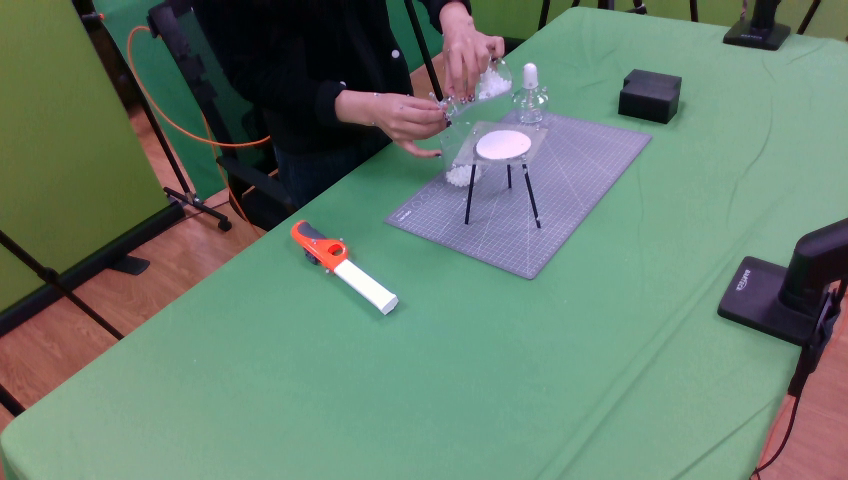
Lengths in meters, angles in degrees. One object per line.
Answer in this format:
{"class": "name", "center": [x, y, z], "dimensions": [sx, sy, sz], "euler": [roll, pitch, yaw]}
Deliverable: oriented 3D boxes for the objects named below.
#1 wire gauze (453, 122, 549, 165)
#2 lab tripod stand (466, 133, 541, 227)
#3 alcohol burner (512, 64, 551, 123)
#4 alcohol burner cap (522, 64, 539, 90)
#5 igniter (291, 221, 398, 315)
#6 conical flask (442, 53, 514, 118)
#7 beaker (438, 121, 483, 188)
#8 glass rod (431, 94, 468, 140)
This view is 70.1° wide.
{"class": "wire gauze", "center": [0.121, -0.150, 0.942], "dimensions": [0.121, 0.011, 0.125], "euler": [8, 42, 21]}
{"class": "lab tripod stand", "center": [0.129, -0.099, 0.985], "dimensions": [0.148, 0.132, 0.147], "euler": [-6, 38, 6]}
{"class": "alcohol burner", "center": [0.215, -0.298, 1.220], "dimensions": [0.078, 0.120, 0.077], "euler": [-7, 40, 7]}
{"class": "alcohol burner cap", "center": [0.210, -0.325, 1.195], "dimensions": [0.034, 0.048, 0.033], "euler": [-6, 45, 7]}
{"class": "igniter", "center": [-0.136, 0.037, 0.962], "dimensions": [0.057, 0.025, 0.274], "euler": [-41, 48, -18]}
{"class": "conical flask", "center": [0.086, -0.253, 1.018], "dimensions": [0.122, 0.076, 0.074], "euler": [-39, 47, -18]}
{"class": "beaker", "center": [0.066, -0.149, 1.083], "dimensions": [0.073, 0.101, 0.084], "euler": [20, 49, 31]}
{"class": "glass rod", "center": [0.046, -0.201, 1.004], "dimensions": [0.008, 0.201, 0.008], "euler": [-3, 79, 19]}
